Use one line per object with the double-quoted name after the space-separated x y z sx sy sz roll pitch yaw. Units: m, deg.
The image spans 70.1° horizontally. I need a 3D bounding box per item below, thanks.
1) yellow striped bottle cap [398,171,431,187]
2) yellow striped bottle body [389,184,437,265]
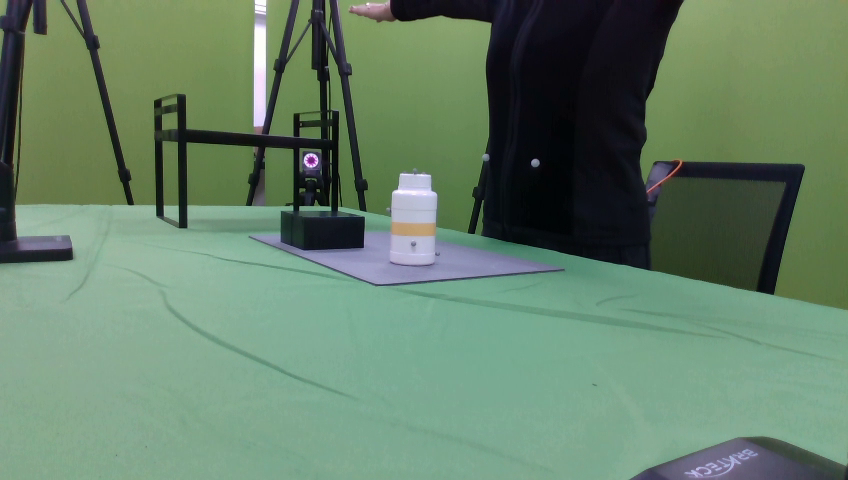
-0.012 -0.082 0.809 0.044 0.018 0.044 4 9 0 "yellow striped bottle cap"
-0.014 -0.030 0.816 0.063 0.120 0.063 2 7 0 "yellow striped bottle body"
